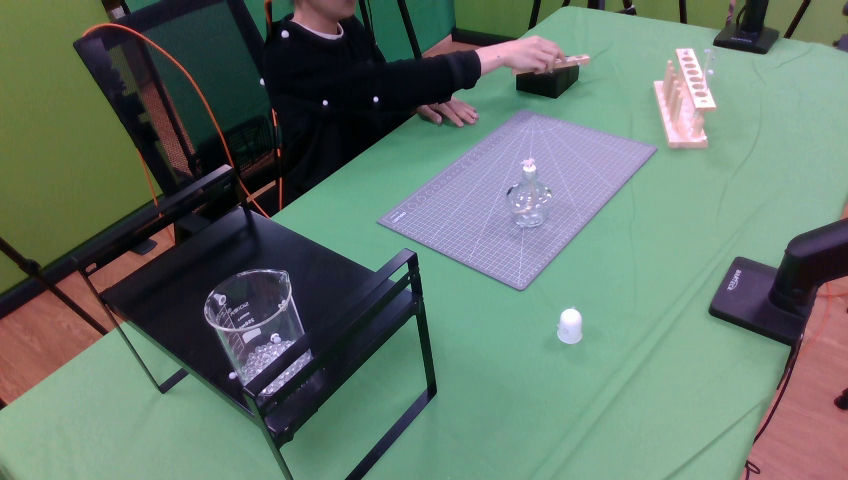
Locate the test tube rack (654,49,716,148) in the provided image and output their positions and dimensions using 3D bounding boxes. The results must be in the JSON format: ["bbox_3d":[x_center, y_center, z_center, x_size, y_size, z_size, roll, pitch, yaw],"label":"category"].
[{"bbox_3d":[0.502,-0.281,1.176,0.066,0.085,0.241,2,41,11],"label":"test tube rack"}]

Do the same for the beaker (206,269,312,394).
[{"bbox_3d":[-0.146,0.086,0.560,0.073,0.101,0.084,19,46,27],"label":"beaker"}]

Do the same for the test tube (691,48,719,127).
[{"bbox_3d":[0.504,-0.271,1.089,0.017,0.151,0.017,-2,38,2],"label":"test tube"}]

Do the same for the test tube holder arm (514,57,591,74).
[{"bbox_3d":[0.271,-0.368,1.275,0.179,0.015,0.013,-13,38,-17],"label":"test tube holder arm"}]

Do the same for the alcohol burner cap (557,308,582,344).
[{"bbox_3d":[0.194,0.111,0.802,0.034,0.048,0.033,-4,39,3],"label":"alcohol burner cap"}]

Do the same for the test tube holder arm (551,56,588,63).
[{"bbox_3d":[0.312,-0.381,1.292,0.088,0.015,0.010,-13,38,-16],"label":"test tube holder arm"}]

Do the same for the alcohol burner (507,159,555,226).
[{"bbox_3d":[0.172,-0.081,0.969,0.078,0.119,0.077,-4,43,4],"label":"alcohol burner"}]
